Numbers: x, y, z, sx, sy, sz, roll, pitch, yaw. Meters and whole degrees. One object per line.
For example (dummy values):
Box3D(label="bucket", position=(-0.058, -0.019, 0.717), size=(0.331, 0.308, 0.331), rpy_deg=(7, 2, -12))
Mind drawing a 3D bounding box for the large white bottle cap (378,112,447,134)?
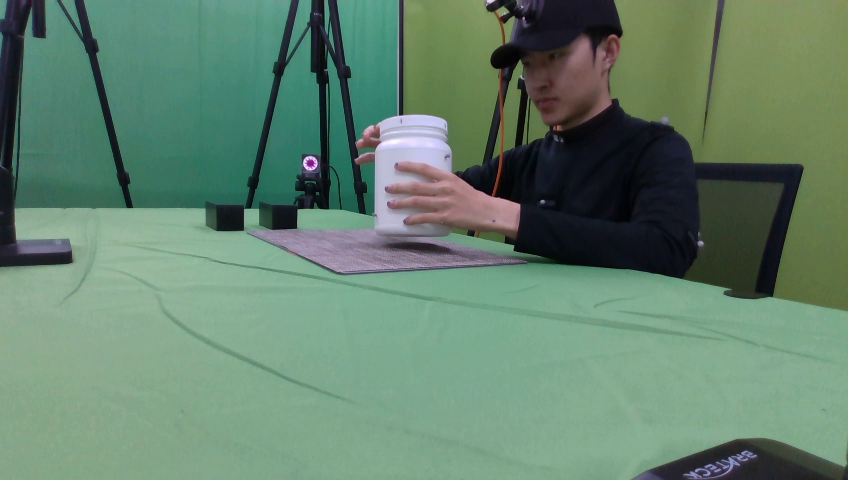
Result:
Box3D(label="large white bottle cap", position=(-0.019, -0.190, 1.013), size=(0.115, 0.018, 0.115), rpy_deg=(-3, -4, 0))

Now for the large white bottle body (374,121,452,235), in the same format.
Box3D(label="large white bottle body", position=(-0.018, -0.101, 1.010), size=(0.131, 0.184, 0.130), rpy_deg=(0, -1, 0))
